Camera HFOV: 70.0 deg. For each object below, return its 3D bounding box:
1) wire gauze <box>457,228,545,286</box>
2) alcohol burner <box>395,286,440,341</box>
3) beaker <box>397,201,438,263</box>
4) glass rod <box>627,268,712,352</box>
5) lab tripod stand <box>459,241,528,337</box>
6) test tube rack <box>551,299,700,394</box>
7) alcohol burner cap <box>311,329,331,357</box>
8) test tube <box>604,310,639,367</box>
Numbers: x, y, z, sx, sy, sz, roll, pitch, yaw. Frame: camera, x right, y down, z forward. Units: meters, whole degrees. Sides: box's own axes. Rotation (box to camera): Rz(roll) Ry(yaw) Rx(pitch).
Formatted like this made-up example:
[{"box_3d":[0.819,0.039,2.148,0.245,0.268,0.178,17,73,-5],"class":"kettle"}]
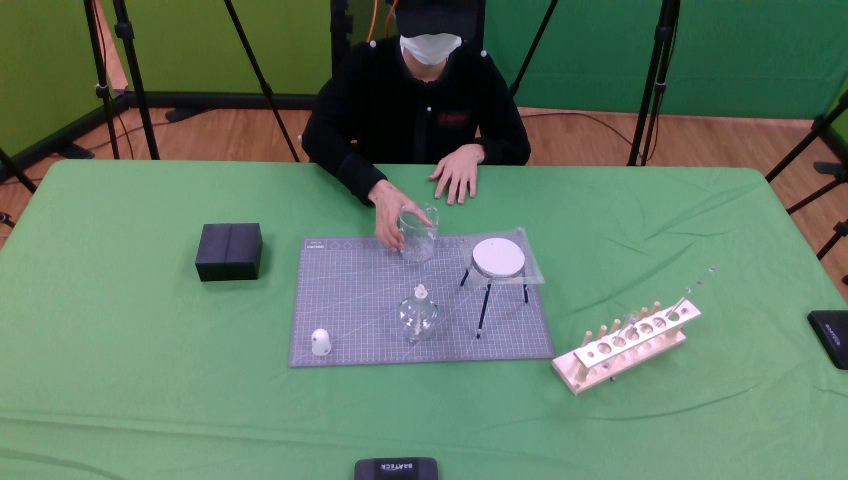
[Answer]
[{"box_3d":[0.126,0.028,1.006,0.125,0.011,0.120,-4,46,-9],"class":"wire gauze"},{"box_3d":[-0.010,0.116,1.018,0.078,0.119,0.077,3,47,-3],"class":"alcohol burner"},{"box_3d":[-0.012,-0.011,1.152,0.083,0.101,0.074,34,53,25],"class":"beaker"},{"box_3d":[0.399,0.117,0.995,0.008,0.200,0.008,26,29,-15],"class":"glass rod"},{"box_3d":[0.122,0.075,1.054,0.148,0.132,0.147,3,44,-3],"class":"lab tripod stand"},{"box_3d":[0.339,0.166,1.021,0.242,0.085,0.066,-19,50,-21],"class":"test tube rack"},{"box_3d":[-0.173,0.168,1.005,0.034,0.048,0.033,2,46,-2],"class":"alcohol burner cap"},{"box_3d":[0.310,0.158,0.957,0.017,0.151,0.017,1,49,-1],"class":"test tube"}]
